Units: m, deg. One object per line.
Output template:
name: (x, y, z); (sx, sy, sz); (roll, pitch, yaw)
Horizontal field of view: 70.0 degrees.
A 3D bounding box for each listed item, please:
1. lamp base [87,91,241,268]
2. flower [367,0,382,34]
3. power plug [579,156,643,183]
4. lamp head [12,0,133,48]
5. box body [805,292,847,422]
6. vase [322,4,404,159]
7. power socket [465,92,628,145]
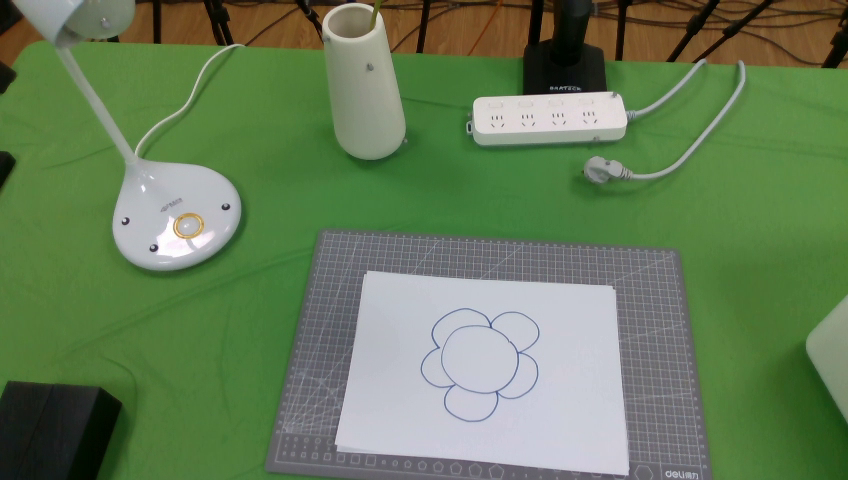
lamp base: (-0.330, -0.082, 0.722); (0.178, 0.182, 0.160); (33, 64, 24)
flower: (-0.064, -0.232, 0.700); (0.044, 0.363, 0.038); (-34, 79, -27)
power plug: (0.239, -0.081, 0.790); (0.073, 0.052, 0.035); (37, 75, -11)
lamp head: (-0.292, -0.230, 0.471); (0.123, 0.112, 0.112); (44, 63, -16)
box body: (0.562, 0.182, 0.535); (0.254, 0.162, 0.360); (-12, 58, -6)
vase: (-0.080, -0.196, 0.775); (0.098, 0.202, 0.097); (-2, 57, 3)
power socket: (0.172, -0.170, 0.848); (0.227, 0.033, 0.071); (-1, 58, 1)
